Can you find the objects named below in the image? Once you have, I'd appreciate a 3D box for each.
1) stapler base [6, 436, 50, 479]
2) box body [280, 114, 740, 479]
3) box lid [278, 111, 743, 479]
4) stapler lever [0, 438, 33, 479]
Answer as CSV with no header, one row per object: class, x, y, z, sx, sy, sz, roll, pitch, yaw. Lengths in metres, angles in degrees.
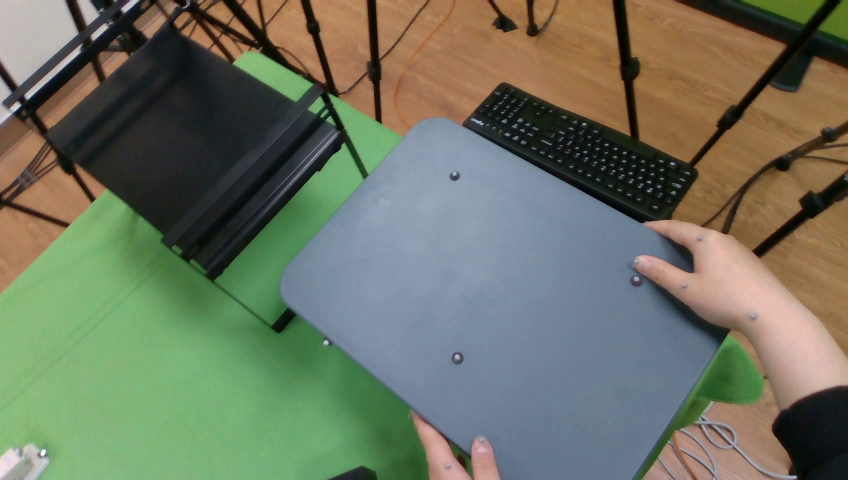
stapler base,-0.504,0.294,0.711,0.041,0.024,0.130,30,71,20
box body,0.078,0.073,0.625,0.361,0.162,0.253,34,75,24
box lid,0.063,0.040,0.560,0.368,0.015,0.263,34,75,24
stapler lever,-0.507,0.282,0.691,0.026,0.040,0.118,30,73,20
